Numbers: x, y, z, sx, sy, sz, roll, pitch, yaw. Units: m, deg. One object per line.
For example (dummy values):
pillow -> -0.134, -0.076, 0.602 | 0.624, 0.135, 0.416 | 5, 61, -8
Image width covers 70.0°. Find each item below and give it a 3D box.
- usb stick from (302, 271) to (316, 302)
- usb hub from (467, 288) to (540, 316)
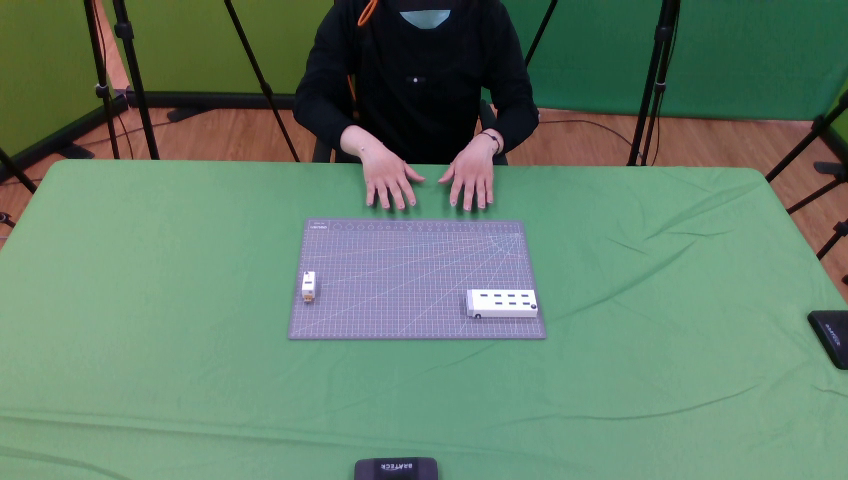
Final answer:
usb stick -> -0.207, 0.085, 1.092 | 0.021, 0.027, 0.059 | 1, 49, -5
usb hub -> 0.142, 0.112, 1.089 | 0.125, 0.025, 0.049 | 0, 46, -2
